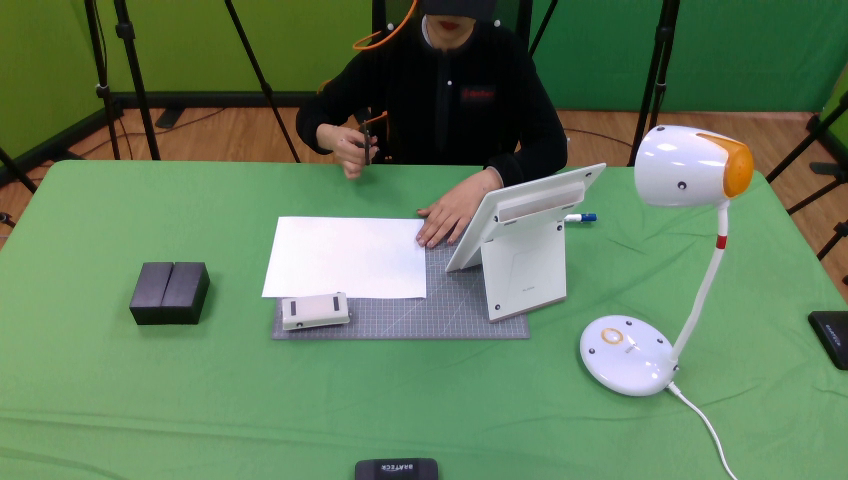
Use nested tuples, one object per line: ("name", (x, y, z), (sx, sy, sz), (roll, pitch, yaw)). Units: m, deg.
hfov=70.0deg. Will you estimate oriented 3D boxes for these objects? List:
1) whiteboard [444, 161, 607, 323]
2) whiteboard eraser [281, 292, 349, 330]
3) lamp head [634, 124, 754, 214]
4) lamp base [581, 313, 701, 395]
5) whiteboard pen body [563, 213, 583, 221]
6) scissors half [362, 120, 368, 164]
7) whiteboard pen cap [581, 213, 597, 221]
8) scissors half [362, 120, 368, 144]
("whiteboard", (0.186, 0.025, 1.029), (0.217, 0.306, 0.143), (-14, 68, -18))
("whiteboard eraser", (-0.189, 0.124, 1.045), (0.113, 0.042, 0.055), (-6, 46, -10))
("lamp head", (0.351, -0.089, 0.775), (0.112, 0.113, 0.122), (-30, 30, -28))
("lamp base", (0.361, 0.144, 0.973), (0.178, 0.181, 0.160), (34, 53, 23))
("whiteboard pen body", (0.283, -0.047, 1.257), (0.141, 0.017, 0.017), (-1, 46, -2))
("scissors half", (-0.115, -0.193, 1.200), (0.013, 0.175, 0.040), (-4, 72, -7))
("whiteboard pen cap", (0.342, -0.048, 1.260), (0.033, 0.018, 0.018), (-3, 46, -3))
("scissors half", (-0.116, -0.213, 1.203), (0.013, 0.175, 0.040), (1, 87, -7))
